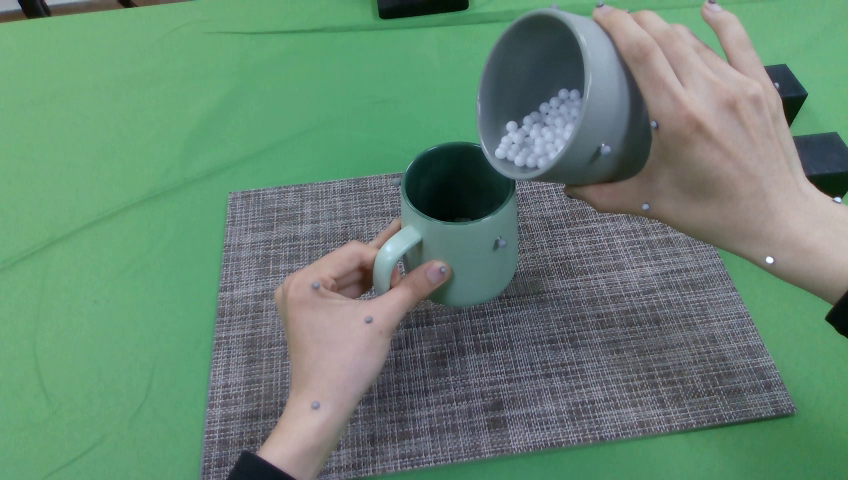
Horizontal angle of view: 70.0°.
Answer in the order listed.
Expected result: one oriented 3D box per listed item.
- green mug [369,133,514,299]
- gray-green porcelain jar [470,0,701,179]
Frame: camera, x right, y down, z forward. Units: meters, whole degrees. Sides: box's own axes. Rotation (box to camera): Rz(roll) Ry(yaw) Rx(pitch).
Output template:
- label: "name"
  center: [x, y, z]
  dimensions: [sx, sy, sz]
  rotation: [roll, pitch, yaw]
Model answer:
- label: "green mug"
  center: [0.011, -0.006, 0.448]
  dimensions: [0.125, 0.106, 0.091]
  rotation: [-39, 61, -22]
- label: "gray-green porcelain jar"
  center: [0.112, -0.095, 0.410]
  dimensions: [0.127, 0.106, 0.104]
  rotation: [0, 48, -34]
